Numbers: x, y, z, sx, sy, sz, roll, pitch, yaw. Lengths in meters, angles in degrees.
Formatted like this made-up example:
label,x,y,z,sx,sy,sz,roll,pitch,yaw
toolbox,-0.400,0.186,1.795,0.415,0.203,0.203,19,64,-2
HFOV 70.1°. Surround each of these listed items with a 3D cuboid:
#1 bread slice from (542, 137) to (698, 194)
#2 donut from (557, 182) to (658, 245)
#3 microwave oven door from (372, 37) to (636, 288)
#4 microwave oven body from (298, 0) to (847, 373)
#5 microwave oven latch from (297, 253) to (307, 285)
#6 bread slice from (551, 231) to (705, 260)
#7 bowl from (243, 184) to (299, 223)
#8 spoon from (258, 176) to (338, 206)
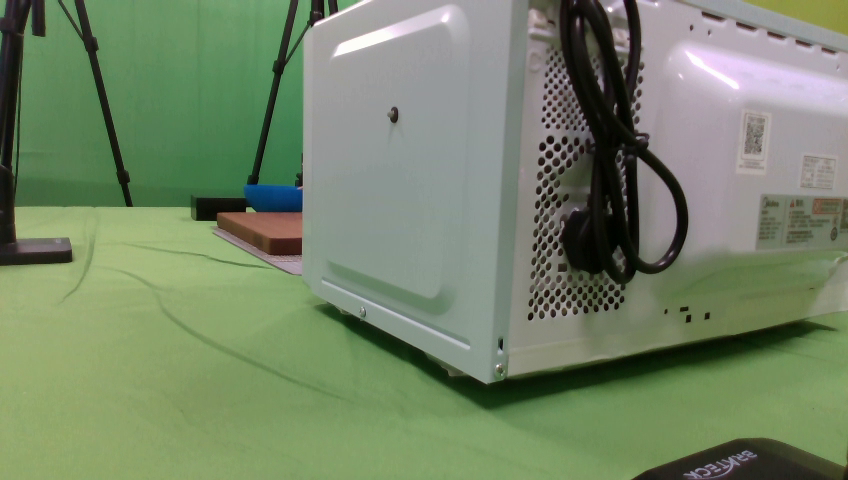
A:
label,x,y,z,sx,sy,sz,roll,pitch,yaw
bread slice,0.200,-0.074,0.601,0.107,0.018,0.133,-1,22,-45
donut,0.184,-0.028,0.609,0.099,0.048,0.099,12,-11,3
microwave oven door,0.110,-0.080,0.686,0.358,0.243,0.039,-2,9,-33
microwave oven body,0.151,-0.055,0.543,0.444,0.260,0.324,-1,7,-33
microwave oven latch,-0.082,0.027,0.582,0.079,0.029,0.030,-2,8,-33
bread slice,0.203,0.005,0.585,0.105,0.019,0.131,6,-4,-21
bowl,-0.321,-0.081,1.333,0.151,0.077,0.151,3,8,0
spoon,-0.279,-0.112,1.356,0.194,0.021,0.041,-28,18,-27
